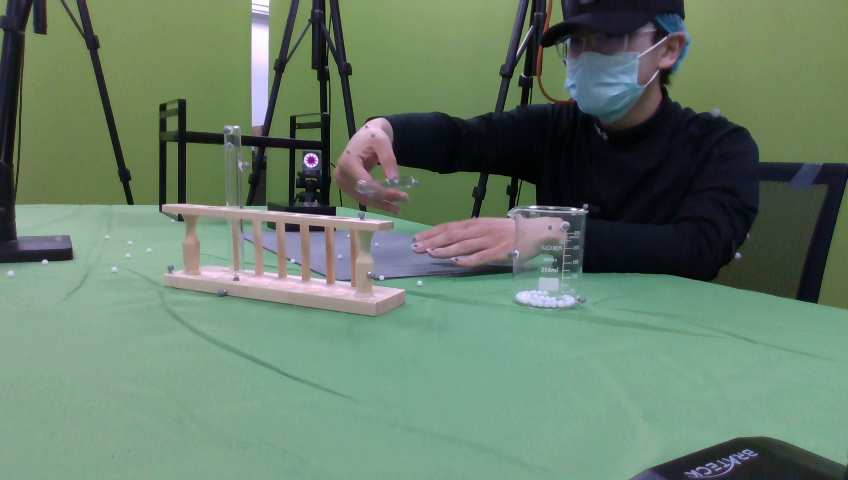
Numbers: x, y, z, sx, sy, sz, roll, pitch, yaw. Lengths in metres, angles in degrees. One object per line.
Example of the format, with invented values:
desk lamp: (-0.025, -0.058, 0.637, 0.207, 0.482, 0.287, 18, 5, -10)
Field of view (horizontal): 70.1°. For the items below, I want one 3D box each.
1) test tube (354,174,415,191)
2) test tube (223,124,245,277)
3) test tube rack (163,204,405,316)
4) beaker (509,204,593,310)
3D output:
test tube: (-0.047, -0.074, 0.766, 0.017, 0.017, 0.151, 5, 10, 22)
test tube: (-0.185, -0.037, 0.592, 0.017, 0.150, 0.017, 2, 11, 0)
test tube rack: (-0.141, 0.013, 0.601, 0.241, 0.085, 0.067, 5, 8, 21)
beaker: (0.125, 0.016, 0.613, 0.084, 0.100, 0.074, 1, 7, -5)
